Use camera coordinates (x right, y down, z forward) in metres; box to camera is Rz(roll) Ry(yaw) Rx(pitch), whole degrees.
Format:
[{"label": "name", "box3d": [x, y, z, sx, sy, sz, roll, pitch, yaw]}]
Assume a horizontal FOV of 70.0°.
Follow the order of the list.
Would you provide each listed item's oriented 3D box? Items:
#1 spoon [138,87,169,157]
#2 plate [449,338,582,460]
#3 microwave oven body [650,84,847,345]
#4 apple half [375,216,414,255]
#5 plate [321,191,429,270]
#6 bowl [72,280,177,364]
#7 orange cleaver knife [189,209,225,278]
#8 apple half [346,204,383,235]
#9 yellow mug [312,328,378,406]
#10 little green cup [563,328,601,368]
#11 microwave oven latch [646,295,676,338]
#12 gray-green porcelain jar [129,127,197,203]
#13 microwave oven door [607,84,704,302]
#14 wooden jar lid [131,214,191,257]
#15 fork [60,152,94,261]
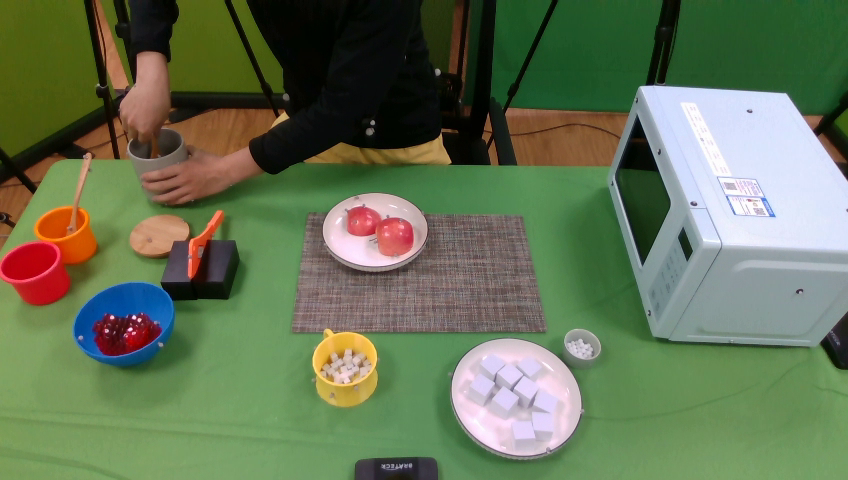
[{"label": "spoon", "box3d": [-0.526, -0.207, 1.202, 0.021, 0.194, 0.041, 11, 31, 31]}, {"label": "plate", "box3d": [0.141, 0.251, 0.956, 0.208, 0.039, 0.206, 2, 46, -2]}, {"label": "microwave oven body", "box3d": [0.569, -0.054, 1.116, 0.326, 0.261, 0.439, 2, 46, -1]}, {"label": "apple half", "box3d": [-0.056, -0.017, 1.169, 0.075, 0.053, 0.080, 0, 46, -7]}, {"label": "plate", "box3d": [-0.094, -0.015, 1.185, 0.209, 0.038, 0.208, 2, 46, -2]}, {"label": "bowl", "box3d": [-0.473, 0.147, 0.982, 0.151, 0.077, 0.150, 2, 46, -2]}, {"label": "orange cleaver knife", "box3d": [-0.401, 0.002, 1.122, 0.012, 0.077, 0.210, 3, 22, -4]}, {"label": "apple half", "box3d": [-0.119, -0.049, 1.207, 0.081, 0.033, 0.081, 2, 50, -2]}, {"label": "yellow mug", "box3d": [-0.132, 0.193, 0.971, 0.100, 0.064, 0.130, -22, 51, -23]}, {"label": "little green cup", "box3d": [0.266, 0.185, 1.025, 0.061, 0.039, 0.061, 1, 45, -1]}, {"label": "microwave oven latch", "box3d": [0.412, 0.132, 1.061, 0.030, 0.029, 0.078, 3, 46, 0]}, {"label": "gray-green porcelain jar", "box3d": [-0.522, -0.147, 1.224, 0.106, 0.127, 0.105, 2, 47, -2]}, {"label": "microwave oven door", "box3d": [0.424, -0.096, 1.137, 0.039, 0.245, 0.353, 3, 46, -1]}, {"label": "wooden jar lid", "box3d": [-0.504, -0.008, 1.167, 0.108, 0.021, 0.107, 3, 46, -3]}, {"label": "fork", "box3d": [-0.638, -0.063, 1.119, 0.028, 0.018, 0.207, 12, 90, 7]}]
